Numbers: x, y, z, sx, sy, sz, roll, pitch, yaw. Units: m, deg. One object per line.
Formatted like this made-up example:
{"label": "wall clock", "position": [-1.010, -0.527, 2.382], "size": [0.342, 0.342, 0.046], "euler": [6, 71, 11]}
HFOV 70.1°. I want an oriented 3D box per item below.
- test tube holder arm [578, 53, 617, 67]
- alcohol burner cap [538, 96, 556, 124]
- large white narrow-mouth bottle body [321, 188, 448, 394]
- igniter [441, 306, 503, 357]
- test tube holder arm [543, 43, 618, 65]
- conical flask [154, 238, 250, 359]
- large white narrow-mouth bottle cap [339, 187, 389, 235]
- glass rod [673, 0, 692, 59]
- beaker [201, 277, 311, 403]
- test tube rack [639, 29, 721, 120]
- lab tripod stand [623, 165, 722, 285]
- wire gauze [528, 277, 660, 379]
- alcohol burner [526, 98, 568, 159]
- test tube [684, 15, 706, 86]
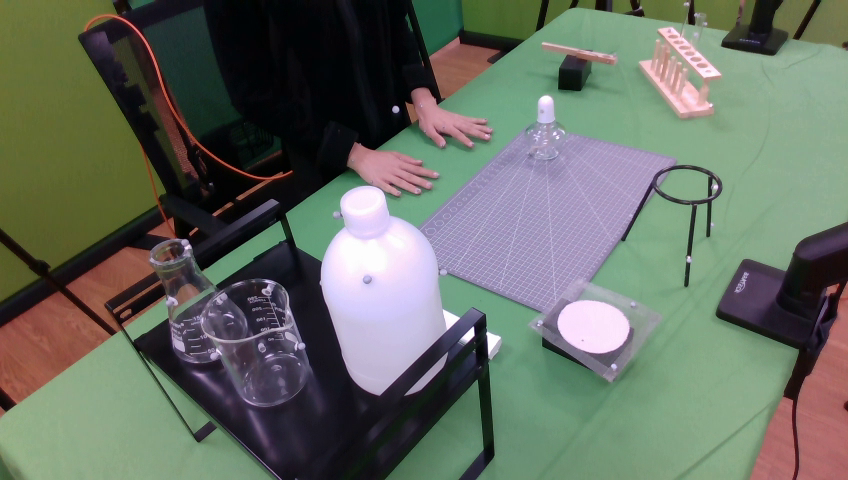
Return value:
{"label": "test tube holder arm", "position": [0.376, -0.393, 1.314], "size": [0.087, 0.015, 0.010], "euler": [26, 51, 32]}
{"label": "alcohol burner cap", "position": [0.222, -0.237, 1.095], "size": [0.034, 0.048, 0.033], "euler": [-7, 35, 5]}
{"label": "large white narrow-mouth bottle body", "position": [-0.035, 0.041, 0.527], "size": [0.102, 0.195, 0.101], "euler": [-5, 41, 4]}
{"label": "igniter", "position": [-0.008, 0.093, 0.870], "size": [0.274, 0.025, 0.057], "euler": [24, 60, 33]}
{"label": "test tube holder arm", "position": [0.344, -0.413, 1.341], "size": [0.177, 0.015, 0.013], "euler": [25, 51, 31]}
{"label": "conical flask", "position": [-0.225, 0.055, 0.598], "size": [0.075, 0.122, 0.075], "euler": [-5, 41, 4]}
{"label": "large white narrow-mouth bottle cap", "position": [-0.046, -0.023, 0.470], "size": [0.038, 0.024, 0.037], "euler": [-4, 40, 4]}
{"label": "glass rod", "position": [0.537, -0.437, 1.257], "size": [0.008, 0.200, 0.008], "euler": [0, 39, 1]}
{"label": "beaker", "position": [-0.146, 0.095, 0.555], "size": [0.083, 0.101, 0.074], "euler": [11, 44, 20]}
{"label": "test tube rack", "position": [0.527, -0.351, 1.262], "size": [0.067, 0.085, 0.241], "euler": [-8, 40, 1]}
{"label": "lab tripod stand", "position": [0.365, -0.030, 0.874], "size": [0.148, 0.132, 0.147], "euler": [-6, 41, 6]}
{"label": "wire gauze", "position": [0.213, 0.103, 0.763], "size": [0.124, 0.011, 0.122], "euler": [30, 52, 35]}
{"label": "alcohol burner", "position": [0.228, -0.210, 1.118], "size": [0.078, 0.119, 0.077], "euler": [-5, 43, 5]}
{"label": "test tube", "position": [0.541, -0.378, 1.215], "size": [0.017, 0.151, 0.017], "euler": [-2, 44, 3]}
